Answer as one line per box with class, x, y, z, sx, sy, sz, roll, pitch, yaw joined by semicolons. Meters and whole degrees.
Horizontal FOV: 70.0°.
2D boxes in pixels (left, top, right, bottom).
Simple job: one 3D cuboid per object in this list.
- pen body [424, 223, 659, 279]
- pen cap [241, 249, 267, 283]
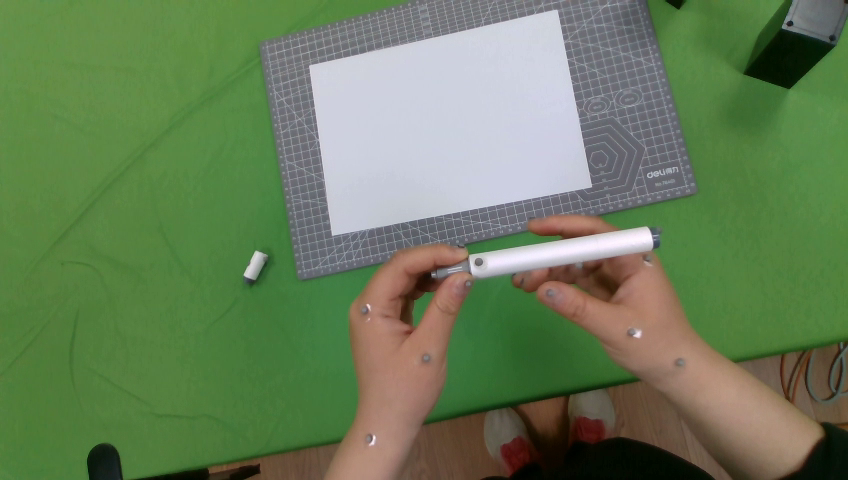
pen body;0.070;0.010;0.375;0.144;0.017;0.017;-10;81;5
pen cap;-0.198;0.031;0.701;0.017;0.017;0.038;26;87;12
